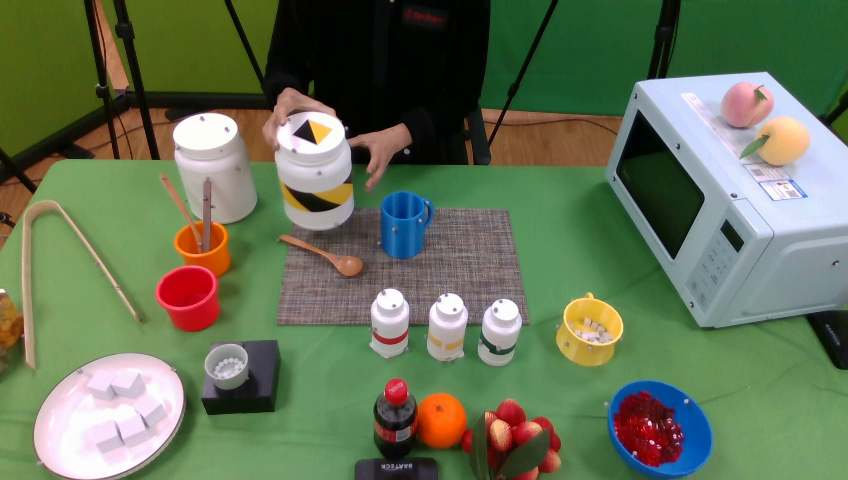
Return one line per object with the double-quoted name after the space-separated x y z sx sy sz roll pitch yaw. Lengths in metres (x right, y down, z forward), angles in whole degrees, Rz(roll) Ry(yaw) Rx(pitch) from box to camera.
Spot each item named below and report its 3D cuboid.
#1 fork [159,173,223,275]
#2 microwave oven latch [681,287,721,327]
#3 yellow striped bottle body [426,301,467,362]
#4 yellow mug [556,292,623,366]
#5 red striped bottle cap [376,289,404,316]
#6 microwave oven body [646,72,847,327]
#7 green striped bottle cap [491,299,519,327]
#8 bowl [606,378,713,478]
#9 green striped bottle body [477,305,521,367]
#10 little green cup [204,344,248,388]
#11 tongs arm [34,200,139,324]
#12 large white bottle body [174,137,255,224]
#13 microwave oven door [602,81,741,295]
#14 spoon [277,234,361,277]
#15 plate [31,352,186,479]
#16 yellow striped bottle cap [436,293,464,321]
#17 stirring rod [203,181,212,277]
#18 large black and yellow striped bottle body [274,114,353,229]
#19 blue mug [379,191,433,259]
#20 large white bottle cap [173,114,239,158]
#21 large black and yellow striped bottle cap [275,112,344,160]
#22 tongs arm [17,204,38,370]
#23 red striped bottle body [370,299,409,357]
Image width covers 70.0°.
-0.426 -0.029 1.104 0.028 0.018 0.207 -31 99 -28 "fork"
0.494 0.119 1.087 0.030 0.029 0.078 -6 46 -9 "microwave oven latch"
0.037 0.142 0.996 0.063 0.121 0.062 2 46 -2 "yellow striped bottle body"
0.285 0.145 1.051 0.100 0.064 0.130 7 45 3 "yellow mug"
-0.054 0.098 0.958 0.044 0.018 0.044 0 48 0 "red striped bottle cap"
0.607 -0.089 1.164 0.326 0.261 0.438 -7 46 -10 "microwave oven body"
0.128 0.115 0.958 0.044 0.020 0.044 1 46 0 "green striped bottle cap"
0.340 0.292 0.906 0.151 0.077 0.150 2 46 -2 "bowl"
0.124 0.151 0.995 0.063 0.120 0.063 2 46 -2 "green striped bottle body"
-0.294 0.191 0.909 0.061 0.039 0.061 1 48 -1 "little green cup"
-0.622 0.034 1.105 0.051 0.026 0.382 -32 56 -26 "tongs arm"
-0.408 -0.137 1.183 0.131 0.185 0.130 2 46 -2 "large white bottle body"
0.456 -0.107 1.162 0.039 0.245 0.353 -7 47 -11 "microwave oven door"
-0.202 0.023 1.155 0.193 0.022 0.041 23 73 17 "spoon"
-0.459 0.262 0.898 0.209 0.038 0.208 2 46 -2 "plate"
0.041 0.106 0.959 0.044 0.019 0.044 -1 50 1 "yellow striped bottle cap"
-0.396 -0.021 1.108 0.014 0.006 0.176 -1 89 -1 "stirring rod"
-0.197 -0.123 1.093 0.131 0.185 0.130 2 50 -2 "large black and yellow striped bottle body"
-0.031 -0.035 1.167 0.116 0.106 0.082 -26 54 -27 "blue mug"
-0.403 -0.195 1.122 0.115 0.018 0.114 2 47 -2 "large white bottle cap"
-0.194 -0.178 1.029 0.115 0.019 0.114 4 48 -4 "large black and yellow striped bottle cap"
-0.698 0.069 1.068 0.028 0.028 0.385 -20 50 -13 "tongs arm"
-0.057 0.135 0.996 0.063 0.120 0.062 2 46 -2 "red striped bottle body"
